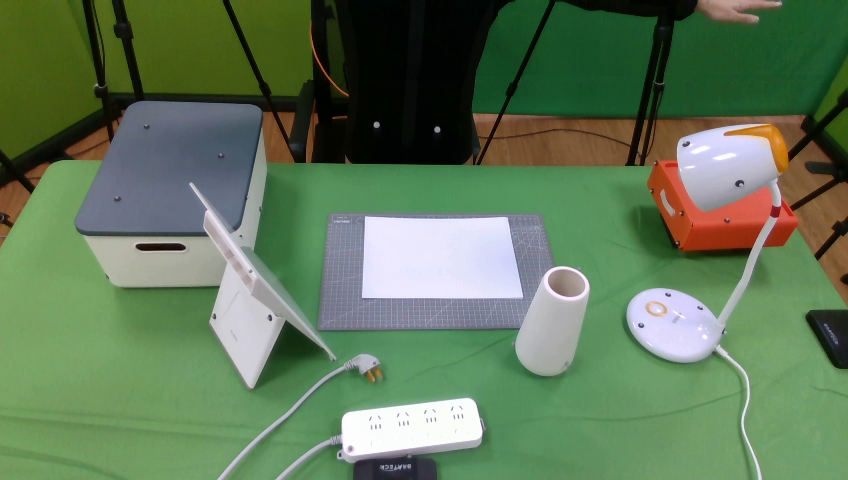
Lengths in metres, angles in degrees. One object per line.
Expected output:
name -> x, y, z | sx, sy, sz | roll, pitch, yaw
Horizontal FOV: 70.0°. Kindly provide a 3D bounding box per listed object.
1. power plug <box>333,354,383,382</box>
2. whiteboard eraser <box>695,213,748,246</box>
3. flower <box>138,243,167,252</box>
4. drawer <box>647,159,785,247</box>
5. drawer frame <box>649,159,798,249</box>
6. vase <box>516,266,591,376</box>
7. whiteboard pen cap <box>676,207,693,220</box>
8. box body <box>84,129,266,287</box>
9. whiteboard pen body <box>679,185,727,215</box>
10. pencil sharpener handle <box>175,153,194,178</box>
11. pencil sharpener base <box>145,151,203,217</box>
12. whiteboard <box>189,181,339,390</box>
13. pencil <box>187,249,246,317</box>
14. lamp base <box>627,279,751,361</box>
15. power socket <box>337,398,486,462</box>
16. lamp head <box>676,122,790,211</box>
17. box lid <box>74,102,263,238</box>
power plug -> -0.103, 0.215, 0.988 | 0.072, 0.035, 0.052 | -36, 77, 15
whiteboard eraser -> 0.592, -0.018, 1.209 | 0.113, 0.042, 0.055 | 12, 27, -36
flower -> -0.447, -0.040, 1.199 | 0.044, 0.038, 0.361 | 21, 39, 15
drawer -> 0.582, -0.079, 1.214 | 0.212, 0.073, 0.193 | -1, 46, -5
drawer frame -> 0.588, -0.077, 1.219 | 0.214, 0.083, 0.200 | -2, 45, -5
vase -> 0.208, 0.132, 0.964 | 0.098, 0.201, 0.097 | 3, 46, -3
whiteboard pen cap -> 0.524, -0.053, 1.216 | 0.033, 0.018, 0.018 | -28, 54, -23
box body -> -0.447, -0.088, 1.150 | 0.254, 0.161, 0.361 | -1, 46, -5
whiteboard pen body -> 0.570, -0.081, 1.239 | 0.141, 0.017, 0.017 | -26, 54, -22
pencil sharpener handle -> -0.478, -0.156, 1.225 | 0.036, 0.068, 0.030 | 24, 48, 1
pencil sharpener base -> -0.491, -0.112, 1.200 | 0.061, 0.107, 0.076 | 15, 47, 12
whiteboard -> -0.292, 0.096, 0.929 | 0.144, 0.307, 0.216 | -37, 57, -10
pencil -> -0.378, 0.077, 1.103 | 0.012, 0.012, 0.193 | -33, 60, -30
lamp base -> 0.459, 0.100, 1.027 | 0.178, 0.181, 0.160 | 27, 51, 17
power socket -> -0.018, 0.285, 0.914 | 0.227, 0.033, 0.071 | -4, 46, -8
lamp head -> 0.423, -0.104, 0.819 | 0.122, 0.113, 0.112 | -13, 33, 40
box lid -> -0.443, -0.138, 1.094 | 0.263, 0.015, 0.369 | 0, 46, -5
